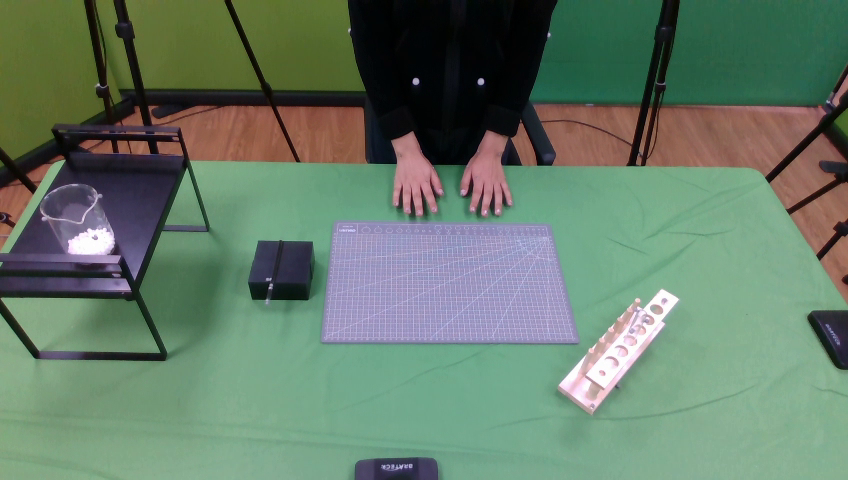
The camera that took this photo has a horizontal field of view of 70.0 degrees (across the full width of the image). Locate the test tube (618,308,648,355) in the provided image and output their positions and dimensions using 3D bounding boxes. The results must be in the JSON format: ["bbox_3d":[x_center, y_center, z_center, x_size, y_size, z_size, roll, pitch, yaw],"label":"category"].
[{"bbox_3d":[0.327,0.154,0.956,0.017,0.151,0.017,-1,50,1],"label":"test tube"}]

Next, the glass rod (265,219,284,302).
[{"bbox_3d":[-0.267,0.031,1.084,0.008,0.008,0.198,1,46,-3],"label":"glass rod"}]

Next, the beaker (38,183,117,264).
[{"bbox_3d":[-0.494,-0.019,0.874,0.074,0.101,0.083,-29,55,-27],"label":"beaker"}]

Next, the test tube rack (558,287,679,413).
[{"bbox_3d":[0.326,0.170,1.009,0.066,0.085,0.242,36,54,26],"label":"test tube rack"}]
